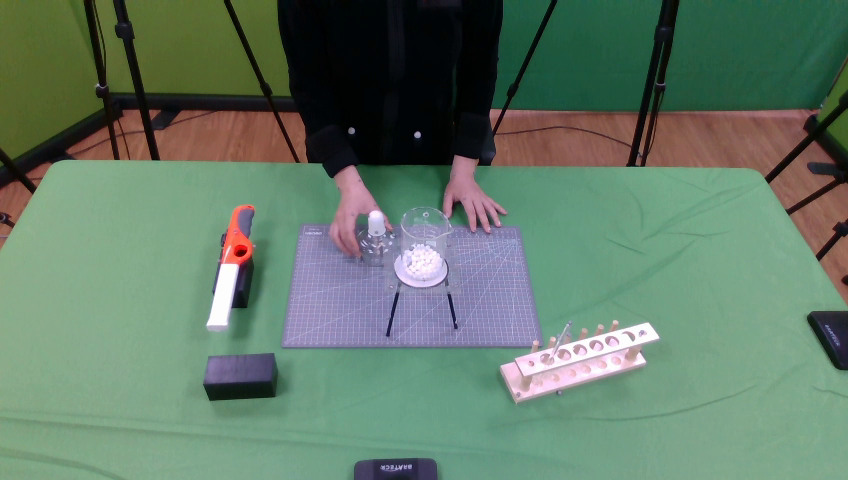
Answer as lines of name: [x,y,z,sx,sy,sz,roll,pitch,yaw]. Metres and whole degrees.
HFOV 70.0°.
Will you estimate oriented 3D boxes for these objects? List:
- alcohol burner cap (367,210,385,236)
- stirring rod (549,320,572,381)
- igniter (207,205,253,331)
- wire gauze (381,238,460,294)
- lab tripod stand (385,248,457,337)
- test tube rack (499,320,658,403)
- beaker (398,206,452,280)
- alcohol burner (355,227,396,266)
alcohol burner cap: [-0.089,-0.033,1.105,0.034,0.048,0.033,-1,43,1]
stirring rod: [0.202,0.167,0.901,0.006,0.177,0.014,-17,54,-11]
igniter: [-0.339,0.038,1.066,0.057,0.025,0.274,2,48,-6]
wire gauze: [-0.008,0.042,0.985,0.125,0.011,0.120,-1,43,-2]
lab tripod stand: [-0.010,0.087,1.032,0.148,0.132,0.147,1,45,-1]
test tube rack: [0.252,0.187,0.994,0.243,0.085,0.066,-12,48,-15]
beaker: [0.000,0.008,0.950,0.084,0.101,0.073,10,46,6]
alcohol burner: [-0.091,-0.008,1.131,0.078,0.120,0.077,1,46,0]
